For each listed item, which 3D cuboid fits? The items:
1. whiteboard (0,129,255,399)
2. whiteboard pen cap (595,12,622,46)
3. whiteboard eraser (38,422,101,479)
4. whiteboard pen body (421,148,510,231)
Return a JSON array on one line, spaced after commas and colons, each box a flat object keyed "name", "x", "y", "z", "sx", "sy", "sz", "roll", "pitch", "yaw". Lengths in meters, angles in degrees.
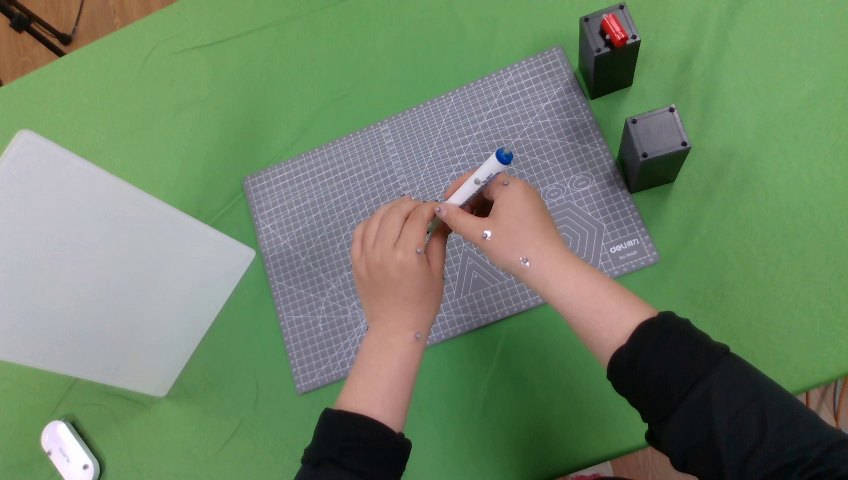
[{"name": "whiteboard", "x": -0.393, "y": 0.026, "z": 0.695, "sx": 0.142, "sy": 0.309, "sz": 0.217, "roll": 27, "pitch": 83, "yaw": 38}, {"name": "whiteboard pen cap", "x": 0.194, "y": -0.222, "z": 0.637, "sx": 0.017, "sy": 0.017, "sz": 0.032, "roll": -27, "pitch": 74, "yaw": 5}, {"name": "whiteboard eraser", "x": -0.449, "y": 0.271, "z": 0.762, "sx": 0.100, "sy": 0.019, "sz": 0.041, "roll": 41, "pitch": 87, "yaw": 18}, {"name": "whiteboard pen body", "x": 0.031, "y": -0.039, "z": 0.534, "sx": 0.017, "sy": 0.141, "sz": 0.016, "roll": 14, "pitch": 59, "yaw": -24}]
